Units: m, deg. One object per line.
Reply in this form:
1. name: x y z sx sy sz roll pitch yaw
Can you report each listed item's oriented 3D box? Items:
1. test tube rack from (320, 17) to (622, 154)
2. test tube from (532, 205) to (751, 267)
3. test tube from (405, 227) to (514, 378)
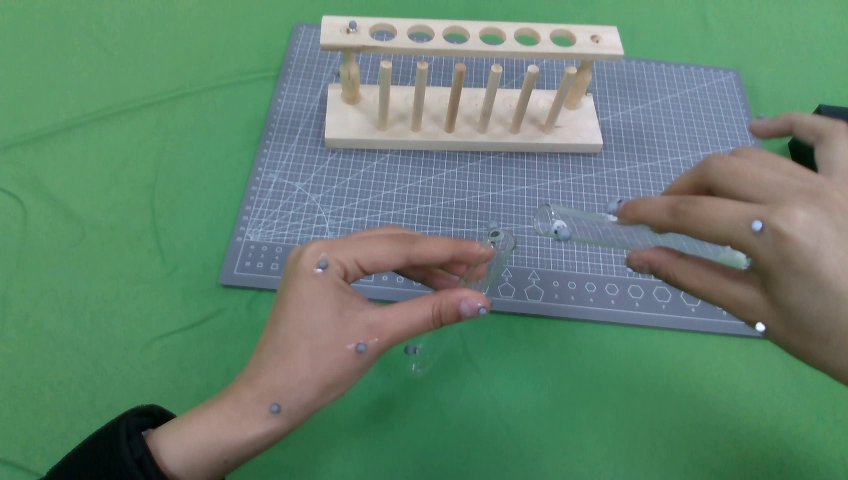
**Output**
1. test tube rack: 0.037 -0.128 0.513 0.243 0.086 0.066 1 58 -5
2. test tube: 0.118 0.000 0.310 0.151 0.017 0.017 8 54 -29
3. test tube: 0.015 0.042 0.343 0.017 0.151 0.017 11 51 -13
